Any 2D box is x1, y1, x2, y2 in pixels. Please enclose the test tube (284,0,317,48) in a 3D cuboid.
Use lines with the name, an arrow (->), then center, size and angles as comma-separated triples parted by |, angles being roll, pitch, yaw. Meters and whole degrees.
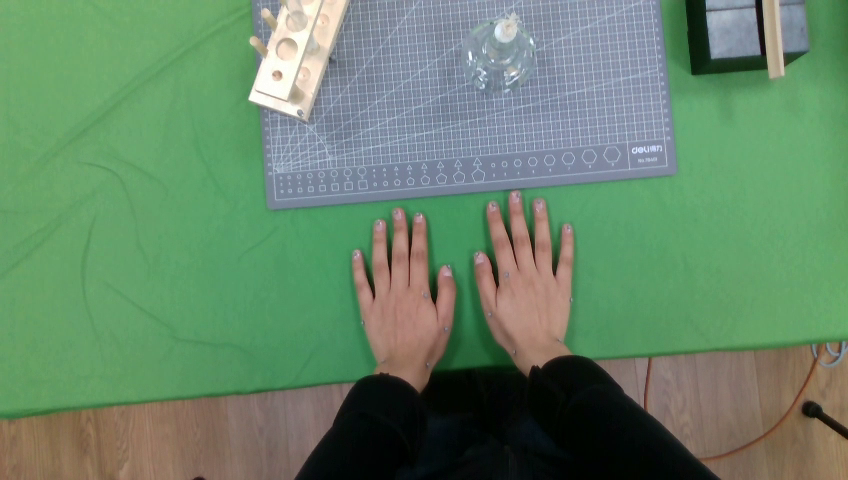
test tube -> -0.121, -0.220, 0.584 | 0.017, 0.150, 0.017 | 0, 86, -1

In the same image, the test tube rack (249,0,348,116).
test tube rack -> -0.123, -0.263, 0.636 | 0.067, 0.085, 0.242 | 19, 89, 3

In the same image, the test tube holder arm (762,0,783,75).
test tube holder arm -> 0.346, -0.254, 0.604 | 0.013, 0.015, 0.178 | -1, 88, -31

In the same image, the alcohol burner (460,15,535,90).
alcohol burner -> 0.076, -0.196, 0.613 | 0.078, 0.119, 0.078 | 0, 86, 1
